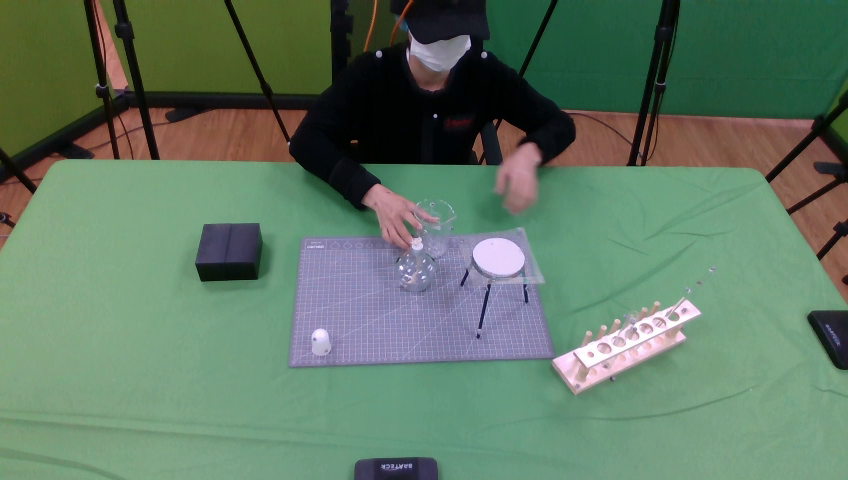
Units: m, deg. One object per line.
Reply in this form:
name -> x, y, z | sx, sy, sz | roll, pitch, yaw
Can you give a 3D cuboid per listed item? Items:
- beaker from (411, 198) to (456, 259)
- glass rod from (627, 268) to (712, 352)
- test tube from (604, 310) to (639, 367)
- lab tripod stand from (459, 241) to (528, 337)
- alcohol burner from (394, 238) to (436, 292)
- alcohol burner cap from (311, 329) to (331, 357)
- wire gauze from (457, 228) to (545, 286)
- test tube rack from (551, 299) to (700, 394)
beaker -> 0.016, -0.019, 1.161 | 0.084, 0.101, 0.073 | 7, 46, 1
glass rod -> 0.399, 0.117, 0.995 | 0.008, 0.200, 0.008 | 26, 29, -15
test tube -> 0.310, 0.158, 0.957 | 0.017, 0.151, 0.017 | 1, 49, -1
lab tripod stand -> 0.122, 0.075, 1.054 | 0.148, 0.132, 0.147 | 3, 44, -3
alcohol burner -> -0.016, 0.038, 1.093 | 0.078, 0.119, 0.077 | 2, 48, -2
alcohol burner cap -> -0.173, 0.168, 1.004 | 0.034, 0.048, 0.033 | 2, 46, -2
wire gauze -> 0.126, 0.029, 1.006 | 0.125, 0.011, 0.120 | -4, 46, -10
test tube rack -> 0.339, 0.166, 1.021 | 0.242, 0.085, 0.066 | -19, 50, -21
